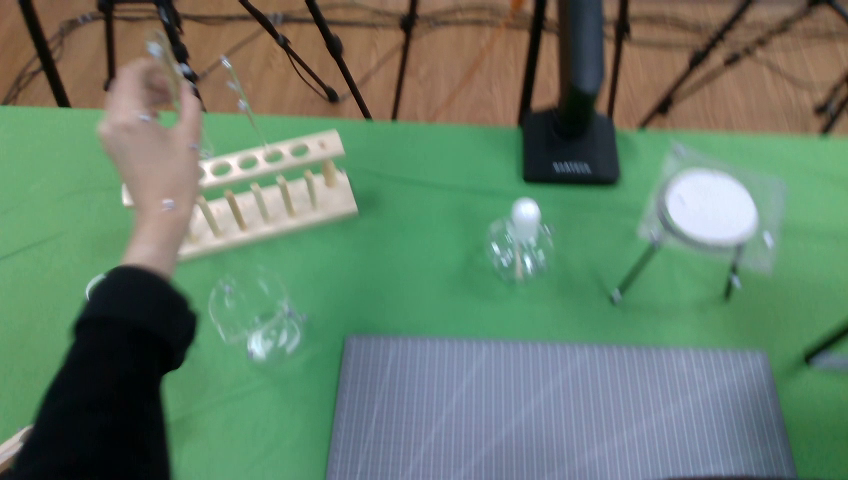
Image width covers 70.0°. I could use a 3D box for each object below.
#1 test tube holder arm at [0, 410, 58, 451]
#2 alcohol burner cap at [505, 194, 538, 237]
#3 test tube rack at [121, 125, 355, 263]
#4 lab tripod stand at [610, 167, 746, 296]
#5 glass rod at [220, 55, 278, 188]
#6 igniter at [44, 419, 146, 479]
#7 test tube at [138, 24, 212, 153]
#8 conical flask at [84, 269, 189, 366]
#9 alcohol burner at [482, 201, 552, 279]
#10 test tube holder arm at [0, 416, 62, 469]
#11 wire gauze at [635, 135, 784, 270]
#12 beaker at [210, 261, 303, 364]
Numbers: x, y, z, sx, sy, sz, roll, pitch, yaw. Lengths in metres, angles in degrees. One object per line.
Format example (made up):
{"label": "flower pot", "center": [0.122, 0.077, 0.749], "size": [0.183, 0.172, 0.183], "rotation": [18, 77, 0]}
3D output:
{"label": "test tube holder arm", "center": [-0.410, 0.214, 0.531], "size": [0.178, 0.015, 0.013], "rotation": [-38, 65, -20]}
{"label": "alcohol burner cap", "center": [0.102, -0.028, 0.629], "size": [0.034, 0.048, 0.033], "rotation": [0, 58, 0]}
{"label": "test tube rack", "center": [-0.209, -0.053, 0.706], "size": [0.243, 0.086, 0.066], "rotation": [-16, 60, -9]}
{"label": "lab tripod stand", "center": [0.273, -0.002, 0.643], "size": [0.148, 0.132, 0.147], "rotation": [1, 58, 0]}
{"label": "glass rod", "center": [-0.185, -0.117, 0.666], "size": [0.008, 0.201, 0.008], "rotation": [-4, 53, 5]}
{"label": "igniter", "center": [-0.367, 0.253, 0.504], "size": [0.276, 0.025, 0.057], "rotation": [-37, 67, -23]}
{"label": "test tube", "center": [-0.208, -0.122, 0.517], "size": [0.017, 0.151, 0.017], "rotation": [1, 63, -2]}
{"label": "conical flask", "center": [-0.293, 0.074, 0.610], "size": [0.075, 0.123, 0.074], "rotation": [0, 59, 1]}
{"label": "alcohol burner", "center": [0.104, -0.008, 0.660], "size": [0.078, 0.120, 0.077], "rotation": [1, 58, 0]}
{"label": "test tube holder arm", "center": [-0.372, 0.192, 0.545], "size": [0.088, 0.015, 0.010], "rotation": [-36, 64, -20]}
{"label": "wire gauze", "center": [0.279, -0.038, 0.585], "size": [0.121, 0.011, 0.124], "rotation": [22, 63, 11]}
{"label": "beaker", "center": [-0.168, 0.081, 0.618], "size": [0.074, 0.101, 0.083], "rotation": [16, 61, 11]}
